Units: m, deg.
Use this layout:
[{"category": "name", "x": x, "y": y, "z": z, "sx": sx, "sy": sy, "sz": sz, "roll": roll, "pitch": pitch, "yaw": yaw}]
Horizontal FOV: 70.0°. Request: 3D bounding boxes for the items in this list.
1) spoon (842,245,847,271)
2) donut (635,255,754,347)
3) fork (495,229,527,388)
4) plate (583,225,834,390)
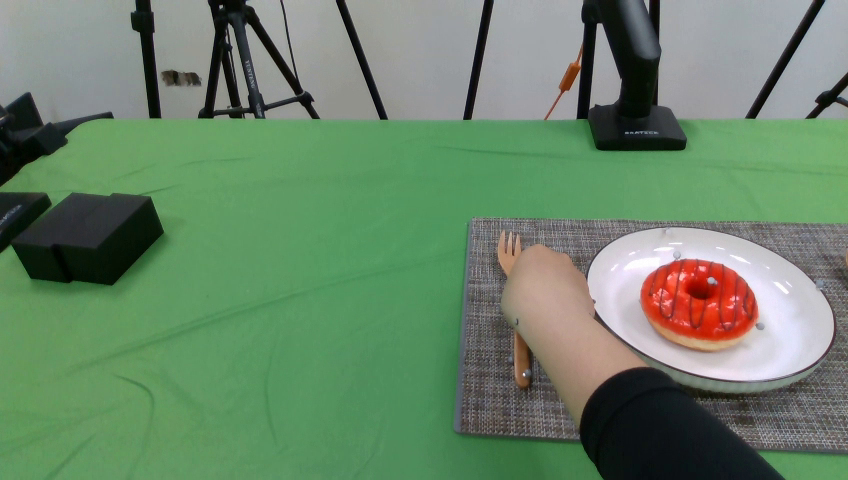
[{"category": "spoon", "x": 0.423, "y": 0.069, "z": 0.541, "sx": 0.042, "sy": 0.022, "sz": 0.192, "roll": 17, "pitch": 37, "yaw": -3}, {"category": "donut", "x": 0.241, "y": 0.053, "z": 0.543, "sx": 0.099, "sy": 0.049, "sz": 0.098, "roll": -3, "pitch": 39, "yaw": 3}, {"category": "fork", "x": 0.086, "y": 0.056, "z": 0.584, "sx": 0.028, "sy": 0.019, "sz": 0.205, "roll": 19, "pitch": 35, "yaw": -12}, {"category": "plate", "x": 0.251, "y": 0.059, "z": 0.553, "sx": 0.209, "sy": 0.038, "sz": 0.207, "roll": -2, "pitch": 36, "yaw": 2}]
